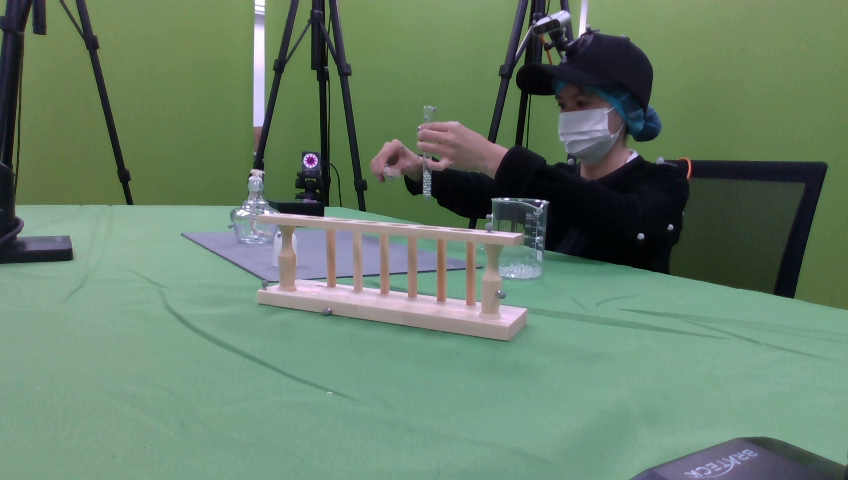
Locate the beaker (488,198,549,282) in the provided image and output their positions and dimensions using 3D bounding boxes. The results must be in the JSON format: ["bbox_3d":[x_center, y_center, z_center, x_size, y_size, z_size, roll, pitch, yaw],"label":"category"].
[{"bbox_3d":[0.120,-0.001,0.768,0.074,0.100,0.083,-1,9,-25],"label":"beaker"}]

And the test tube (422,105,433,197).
[{"bbox_3d":[0.005,-0.146,1.002,0.017,0.150,0.017,1,9,0],"label":"test tube"}]

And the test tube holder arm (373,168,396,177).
[{"bbox_3d":[-0.076,-0.128,1.136,0.013,0.015,0.178,11,4,-17],"label":"test tube holder arm"}]

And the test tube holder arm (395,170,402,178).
[{"bbox_3d":[-0.057,-0.121,1.095,0.010,0.015,0.087,11,4,-21],"label":"test tube holder arm"}]

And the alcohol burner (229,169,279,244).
[{"bbox_3d":[-0.268,-0.053,0.958,0.078,0.119,0.078,2,5,0],"label":"alcohol burner"}]

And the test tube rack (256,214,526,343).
[{"bbox_3d":[-0.032,0.027,0.547,0.241,0.085,0.067,5,7,22],"label":"test tube rack"}]

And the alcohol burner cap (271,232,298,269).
[{"bbox_3d":[-0.175,0.012,0.760,0.034,0.048,0.034,2,8,0],"label":"alcohol burner cap"}]
